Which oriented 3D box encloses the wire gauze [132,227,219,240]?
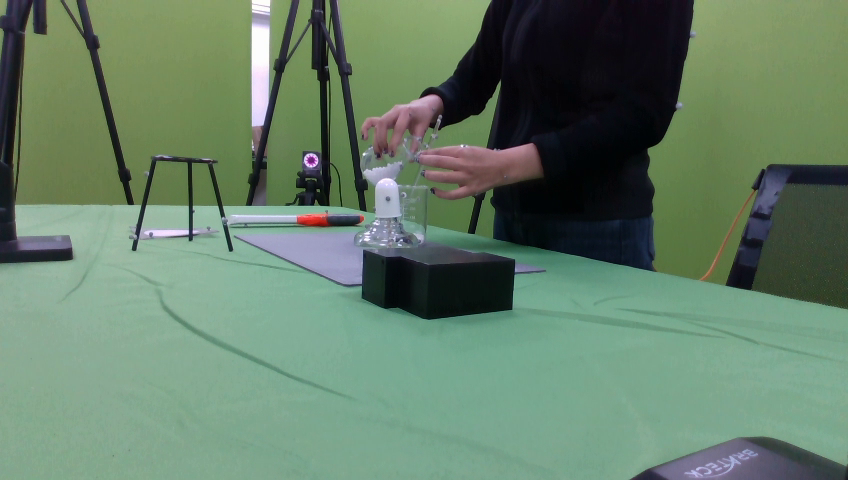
[{"bbox_3d":[-0.421,-0.014,1.024,0.122,0.011,0.124,-2,7,-34],"label":"wire gauze"}]

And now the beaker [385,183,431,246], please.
[{"bbox_3d":[-0.031,-0.043,1.000,0.084,0.100,0.074,4,7,15],"label":"beaker"}]

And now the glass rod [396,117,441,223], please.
[{"bbox_3d":[-0.010,-0.110,0.983,0.008,0.199,0.008,18,30,-10],"label":"glass rod"}]

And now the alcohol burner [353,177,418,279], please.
[{"bbox_3d":[-0.044,-0.014,0.710,0.078,0.119,0.078,4,9,0],"label":"alcohol burner"}]

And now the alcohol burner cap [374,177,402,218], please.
[{"bbox_3d":[-0.044,-0.049,0.704,0.034,0.048,0.034,-4,10,1],"label":"alcohol burner cap"}]

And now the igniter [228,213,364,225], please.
[{"bbox_3d":[-0.252,-0.043,1.227,0.278,0.025,0.057,-2,-3,-32],"label":"igniter"}]

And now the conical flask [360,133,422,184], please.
[{"bbox_3d":[-0.052,-0.145,1.039,0.076,0.075,0.121,-3,-11,-37],"label":"conical flask"}]

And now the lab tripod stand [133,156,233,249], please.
[{"bbox_3d":[-0.342,-0.054,0.878,0.148,0.131,0.148,4,6,0],"label":"lab tripod stand"}]
